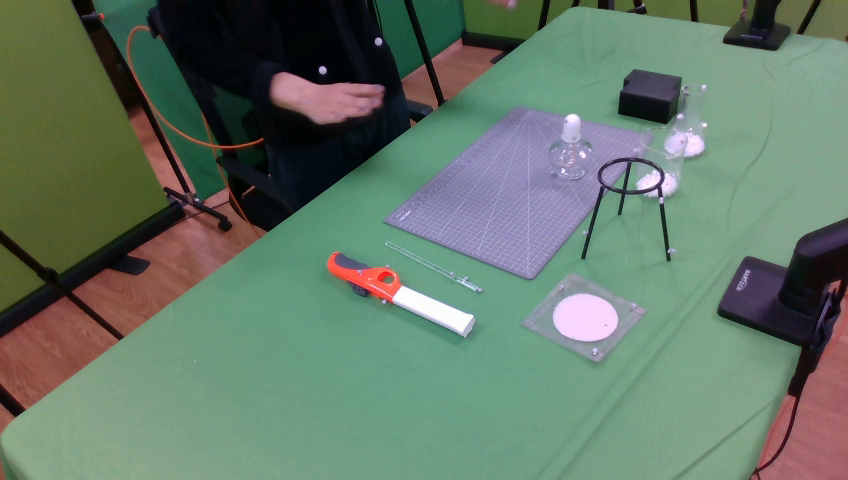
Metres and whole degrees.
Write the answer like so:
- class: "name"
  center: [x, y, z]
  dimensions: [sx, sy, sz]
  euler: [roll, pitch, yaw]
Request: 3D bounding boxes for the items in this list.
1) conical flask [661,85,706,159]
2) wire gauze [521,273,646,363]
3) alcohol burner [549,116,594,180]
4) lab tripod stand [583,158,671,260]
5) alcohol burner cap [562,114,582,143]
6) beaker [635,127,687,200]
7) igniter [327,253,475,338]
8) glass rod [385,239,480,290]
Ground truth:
- class: "conical flask"
  center: [0.464, -0.210, 1.065]
  dimensions: [0.075, 0.122, 0.075]
  euler: [-6, 40, 6]
- class: "wire gauze"
  center: [0.219, 0.105, 0.830]
  dimensions: [0.120, 0.011, 0.125]
  euler: [28, 54, 37]
- class: "alcohol burner"
  center: [0.258, -0.166, 1.055]
  dimensions: [0.078, 0.120, 0.077]
  euler: [-6, 42, 6]
- class: "lab tripod stand"
  center: [0.300, -0.046, 0.895]
  dimensions: [0.148, 0.132, 0.147]
  euler: [-7, 38, 6]
- class: "alcohol burner cap"
  center: [0.254, -0.192, 1.030]
  dimensions: [0.034, 0.048, 0.033]
  euler: [-4, 50, 6]
- class: "beaker"
  center: [0.388, -0.122, 0.994]
  dimensions: [0.074, 0.101, 0.083]
  euler: [-8, 40, 2]
- class: "igniter"
  center: [-0.045, 0.077, 0.898]
  dimensions: [0.274, 0.025, 0.057]
  euler: [22, 60, 32]
- class: "glass rod"
  center: [0.009, 0.037, 0.950]
  dimensions: [0.198, 0.008, 0.008]
  euler: [26, 52, 35]
